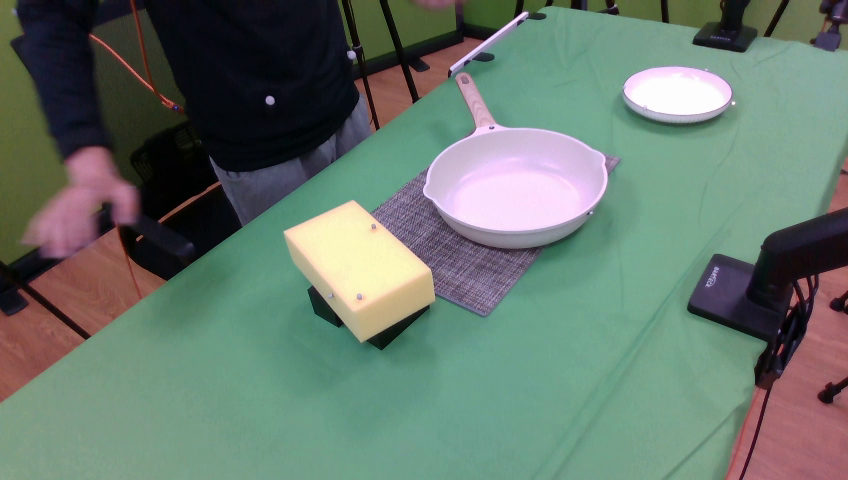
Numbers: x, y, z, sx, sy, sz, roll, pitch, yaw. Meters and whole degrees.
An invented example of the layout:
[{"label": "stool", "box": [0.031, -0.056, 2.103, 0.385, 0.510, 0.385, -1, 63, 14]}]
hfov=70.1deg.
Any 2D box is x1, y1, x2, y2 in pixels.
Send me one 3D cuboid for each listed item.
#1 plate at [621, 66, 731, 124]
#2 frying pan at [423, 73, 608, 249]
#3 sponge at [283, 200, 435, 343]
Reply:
[{"label": "plate", "box": [0.503, -0.288, 1.221, 0.207, 0.039, 0.206, -4, 41, 4]}, {"label": "frying pan", "box": [0.129, -0.160, 1.069, 0.307, 0.103, 0.484, -11, 49, -6]}, {"label": "sponge", "box": [-0.093, 0.036, 0.835, 0.119, 0.061, 0.205, -29, 45, -23]}]
